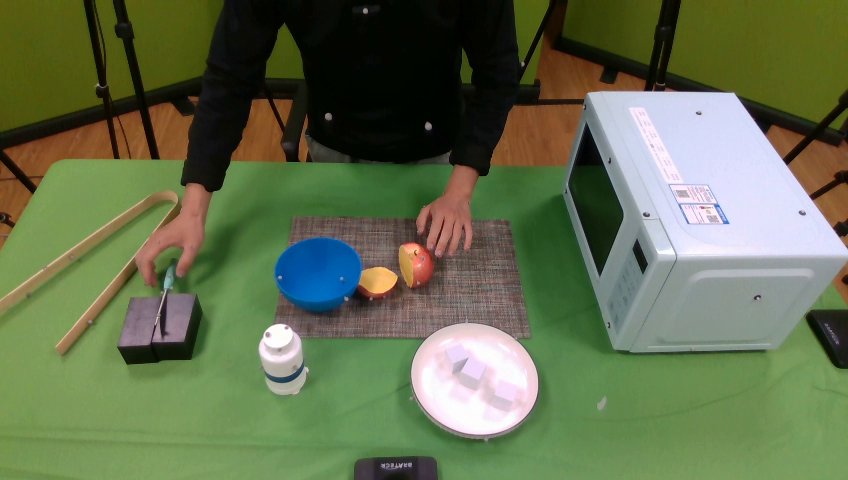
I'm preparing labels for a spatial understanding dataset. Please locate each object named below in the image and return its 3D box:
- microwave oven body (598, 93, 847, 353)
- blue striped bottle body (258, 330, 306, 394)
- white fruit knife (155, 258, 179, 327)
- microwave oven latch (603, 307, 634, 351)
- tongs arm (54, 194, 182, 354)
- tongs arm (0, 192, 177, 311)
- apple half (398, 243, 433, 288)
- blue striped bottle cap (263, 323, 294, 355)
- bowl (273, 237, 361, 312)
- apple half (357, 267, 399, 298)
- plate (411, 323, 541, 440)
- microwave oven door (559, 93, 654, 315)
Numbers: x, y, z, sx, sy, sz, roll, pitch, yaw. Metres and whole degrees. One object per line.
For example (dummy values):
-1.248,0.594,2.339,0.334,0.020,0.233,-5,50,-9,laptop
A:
0.475,-0.041,1.109,0.326,0.261,0.438,-1,45,-4,microwave oven body
-0.220,0.182,0.937,0.063,0.121,0.062,2,46,-2,blue striped bottle body
-0.440,0.085,1.037,0.016,0.027,0.206,10,26,-19,white fruit knife
0.332,0.153,1.044,0.030,0.029,0.078,-1,45,-4,microwave oven latch
-0.543,0.048,1.107,0.028,0.028,0.385,11,46,10,tongs arm
-0.618,0.019,1.123,0.050,0.026,0.384,24,47,17,tongs arm
-0.012,0.046,1.115,0.053,0.075,0.080,-11,44,-20,apple half
-0.217,0.146,0.900,0.044,0.021,0.044,1,46,-1,blue striped bottle cap
-0.186,0.074,1.069,0.151,0.077,0.150,3,46,-3,bowl
-0.082,0.083,1.099,0.081,0.033,0.081,-1,32,1,apple half
0.082,0.228,0.976,0.208,0.039,0.206,2,45,-2,plate
0.327,-0.074,1.123,0.039,0.245,0.353,-1,46,-5,microwave oven door
